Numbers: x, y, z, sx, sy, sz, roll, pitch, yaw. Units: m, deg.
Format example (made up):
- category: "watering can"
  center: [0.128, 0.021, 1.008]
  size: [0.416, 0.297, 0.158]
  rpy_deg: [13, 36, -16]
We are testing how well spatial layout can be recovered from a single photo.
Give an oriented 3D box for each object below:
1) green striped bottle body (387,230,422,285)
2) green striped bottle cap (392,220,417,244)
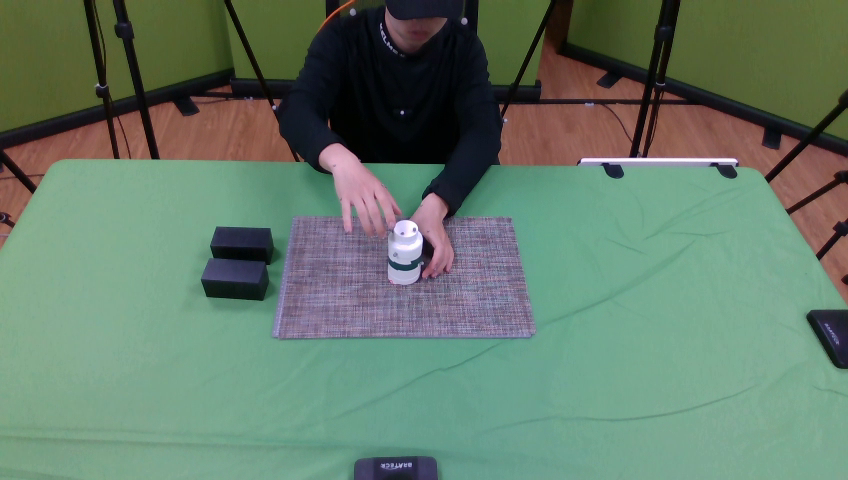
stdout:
- category: "green striped bottle body"
  center: [-0.036, 0.021, 1.102]
  size: [0.063, 0.120, 0.063]
  rpy_deg: [2, 46, -2]
- category: "green striped bottle cap"
  center: [-0.034, -0.014, 1.065]
  size: [0.044, 0.020, 0.044]
  rpy_deg: [3, 44, -3]
